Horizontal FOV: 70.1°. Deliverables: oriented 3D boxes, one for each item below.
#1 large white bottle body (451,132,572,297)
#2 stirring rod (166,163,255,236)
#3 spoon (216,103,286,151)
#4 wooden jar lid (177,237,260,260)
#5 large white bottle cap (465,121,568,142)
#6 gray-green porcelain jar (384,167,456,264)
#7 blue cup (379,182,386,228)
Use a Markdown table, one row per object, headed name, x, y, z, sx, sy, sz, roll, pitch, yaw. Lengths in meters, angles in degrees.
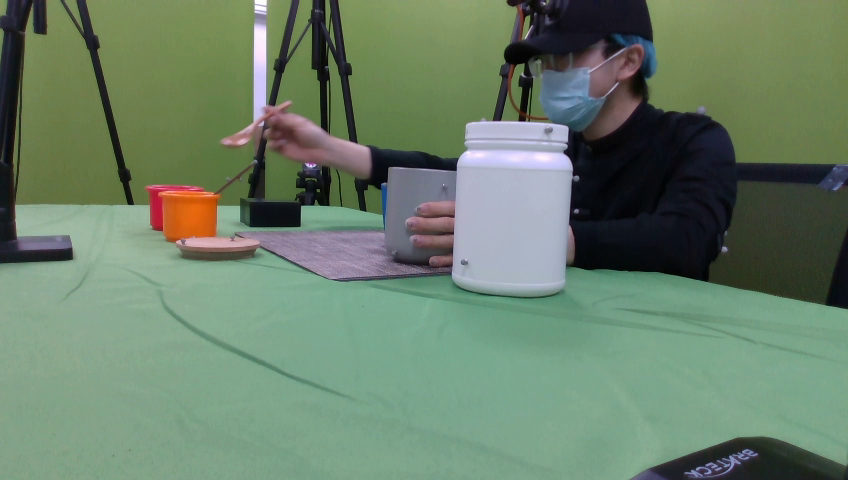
| name | x | y | z | sx | sy | sz | roll | pitch | yaw |
| --- | --- | --- | --- | --- | --- | --- | --- | --- | --- |
| large white bottle body | 0.099 | -0.037 | 0.688 | 0.131 | 0.184 | 0.130 | 2 | 7 | 0 |
| stirring rod | -0.341 | -0.066 | 0.967 | 0.176 | 0.006 | 0.014 | -42 | 23 | -9 |
| spoon | -0.311 | -0.212 | 1.116 | 0.041 | 0.021 | 0.194 | 15 | 44 | 21 |
| wooden jar lid | -0.283 | 0.012 | 0.833 | 0.108 | 0.020 | 0.108 | 2 | 7 | 0 |
| large white bottle cap | 0.103 | -0.120 | 0.677 | 0.115 | 0.018 | 0.115 | 3 | 7 | 0 |
| gray-green porcelain jar | -0.002 | -0.035 | 0.835 | 0.106 | 0.126 | 0.106 | 4 | 6 | 0 |
| blue cup | -0.030 | -0.041 | 0.979 | 0.093 | 0.100 | 0.092 | 2 | 9 | 0 |
